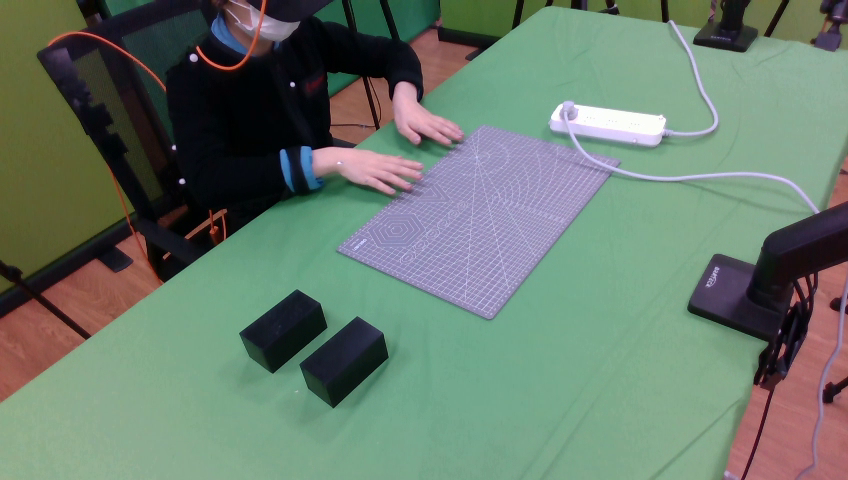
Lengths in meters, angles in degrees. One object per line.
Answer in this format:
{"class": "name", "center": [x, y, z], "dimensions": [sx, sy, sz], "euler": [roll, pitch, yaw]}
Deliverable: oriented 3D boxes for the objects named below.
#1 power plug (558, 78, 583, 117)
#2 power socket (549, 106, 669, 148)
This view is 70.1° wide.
{"class": "power plug", "center": [0.278, -0.269, 1.157], "dimensions": [0.035, 0.073, 0.052], "euler": [-44, 36, -20]}
{"class": "power socket", "center": [0.352, -0.223, 1.169], "dimensions": [0.225, 0.033, 0.072], "euler": [15, 46, 24]}
